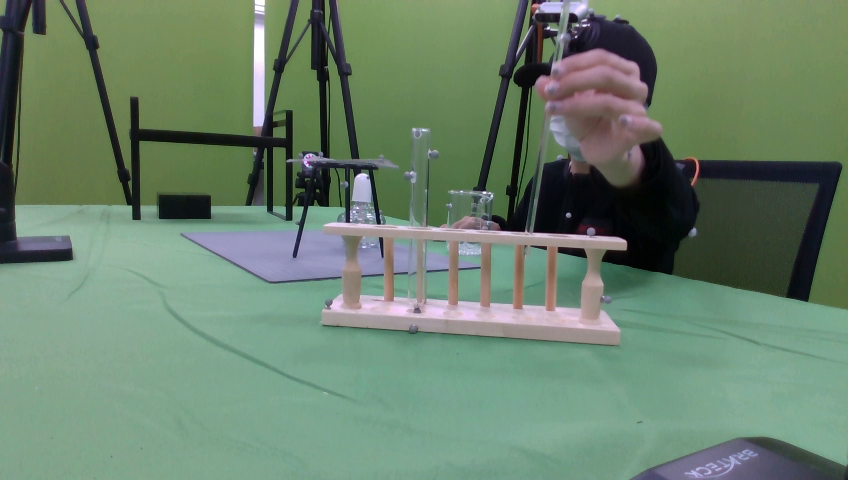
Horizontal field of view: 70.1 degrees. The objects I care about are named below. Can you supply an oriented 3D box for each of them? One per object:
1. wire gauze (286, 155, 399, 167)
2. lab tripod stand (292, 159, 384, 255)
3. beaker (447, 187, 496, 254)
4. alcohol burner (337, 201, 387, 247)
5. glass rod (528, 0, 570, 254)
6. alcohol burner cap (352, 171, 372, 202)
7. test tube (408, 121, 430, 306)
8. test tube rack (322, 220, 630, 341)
[{"bbox_3d":[-0.101,-0.105,0.788,0.121,0.011,0.125,4,6,6],"label":"wire gauze"},{"bbox_3d":[-0.105,-0.039,0.797,0.148,0.131,0.148,2,5,0],"label":"lab tripod stand"},{"bbox_3d":[0.076,-0.031,0.949,0.074,0.100,0.083,-6,11,-42],"label":"beaker"},{"bbox_3d":[-0.098,-0.049,0.954,0.078,0.119,0.078,0,7,0],"label":"alcohol burner"},{"bbox_3d":[0.097,-0.087,0.470,0.008,0.199,0.008,6,7,0],"label":"glass rod"},{"bbox_3d":[-0.096,-0.084,0.951,0.034,0.048,0.034,5,6,0],"label":"alcohol burner cap"},{"bbox_3d":[-0.005,-0.019,0.489,0.017,0.150,0.017,1,12,0],"label":"test tube"},{"bbox_3d":[0.041,0.029,0.512,0.242,0.085,0.067,3,7,5],"label":"test tube rack"}]
